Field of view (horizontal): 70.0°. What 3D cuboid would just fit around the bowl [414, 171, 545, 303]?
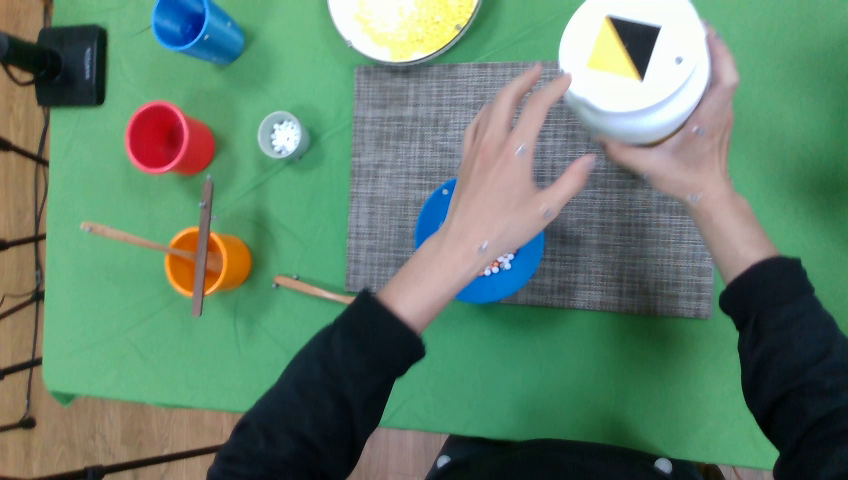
[{"bbox_3d":[0.070,-0.002,0.721,0.151,0.077,0.151,0,89,14],"label":"bowl"}]

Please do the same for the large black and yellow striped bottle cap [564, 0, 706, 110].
[{"bbox_3d":[0.177,-0.169,0.514,0.114,0.019,0.114,-3,83,25],"label":"large black and yellow striped bottle cap"}]

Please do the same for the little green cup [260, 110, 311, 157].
[{"bbox_3d":[-0.183,-0.140,0.810,0.061,0.039,0.061,0,89,15],"label":"little green cup"}]

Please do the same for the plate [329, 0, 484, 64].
[{"bbox_3d":[-0.019,-0.325,0.773,0.208,0.038,0.209,0,90,14],"label":"plate"}]

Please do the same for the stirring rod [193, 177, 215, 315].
[{"bbox_3d":[-0.280,0.008,0.772,0.014,0.006,0.176,6,91,12],"label":"stirring rod"}]

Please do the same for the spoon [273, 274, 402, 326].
[{"bbox_3d":[-0.117,0.072,0.799,0.193,0.021,0.042,14,105,13],"label":"spoon"}]

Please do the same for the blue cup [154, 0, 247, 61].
[{"bbox_3d":[-0.288,-0.282,0.805,0.092,0.100,0.092,0,89,16],"label":"blue cup"}]

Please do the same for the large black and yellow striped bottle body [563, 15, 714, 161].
[{"bbox_3d":[0.211,-0.160,0.591,0.130,0.185,0.130,-3,82,24],"label":"large black and yellow striped bottle body"}]

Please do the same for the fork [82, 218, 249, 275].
[{"bbox_3d":[-0.331,0.009,0.788,0.209,0.018,0.028,20,97,-30],"label":"fork"}]
